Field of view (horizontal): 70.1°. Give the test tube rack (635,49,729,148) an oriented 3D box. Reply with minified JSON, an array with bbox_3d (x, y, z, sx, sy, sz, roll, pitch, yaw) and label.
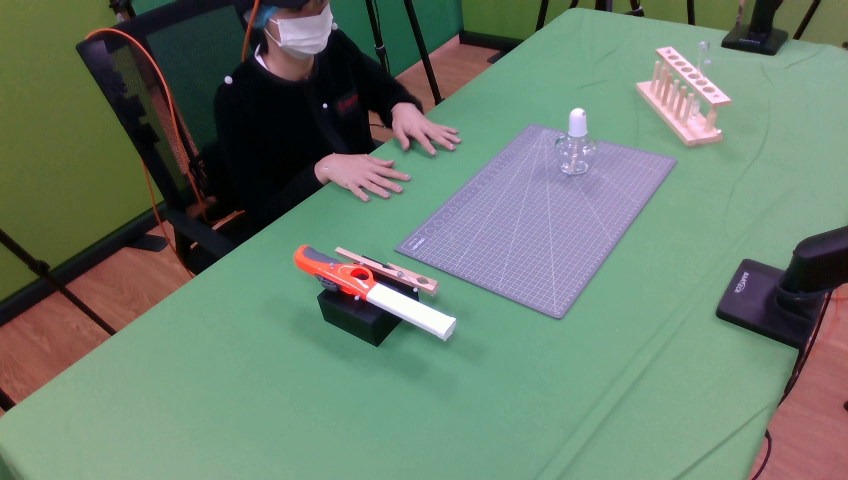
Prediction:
[{"bbox_3d":[0.497,-0.283,1.185,0.067,0.085,0.240,-10,40,-2],"label":"test tube rack"}]

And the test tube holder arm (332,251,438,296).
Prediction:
[{"bbox_3d":[-0.059,0.046,0.859,0.177,0.015,0.013,17,46,25],"label":"test tube holder arm"}]

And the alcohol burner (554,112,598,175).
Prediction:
[{"bbox_3d":[0.270,-0.175,1.066,0.078,0.119,0.077,-4,42,4],"label":"alcohol burner"}]

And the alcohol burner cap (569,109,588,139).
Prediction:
[{"bbox_3d":[0.266,-0.203,1.044,0.034,0.048,0.033,-7,36,5],"label":"alcohol burner cap"}]

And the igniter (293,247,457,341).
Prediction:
[{"bbox_3d":[-0.077,0.068,0.830,0.274,0.025,0.057,22,48,27],"label":"igniter"}]

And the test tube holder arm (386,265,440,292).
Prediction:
[{"bbox_3d":[-0.018,0.054,0.843,0.087,0.015,0.010,18,47,26],"label":"test tube holder arm"}]

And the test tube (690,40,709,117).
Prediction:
[{"bbox_3d":[0.510,-0.295,1.120,0.017,0.151,0.017,-6,39,6],"label":"test tube"}]
